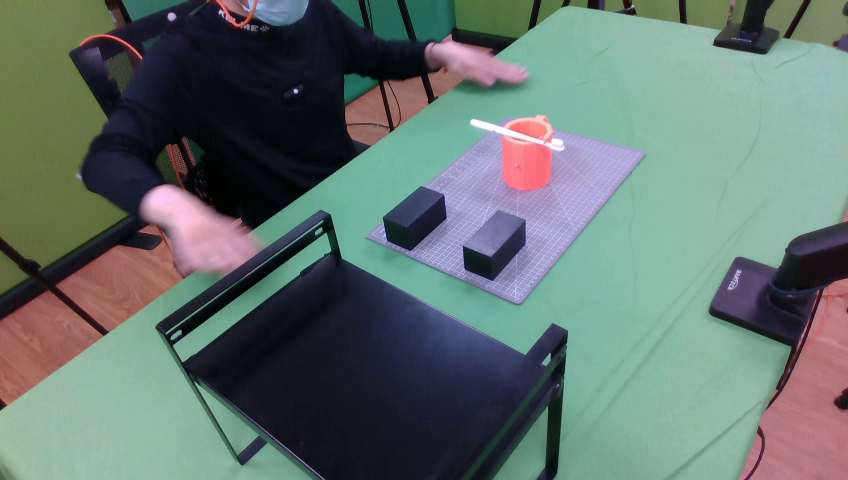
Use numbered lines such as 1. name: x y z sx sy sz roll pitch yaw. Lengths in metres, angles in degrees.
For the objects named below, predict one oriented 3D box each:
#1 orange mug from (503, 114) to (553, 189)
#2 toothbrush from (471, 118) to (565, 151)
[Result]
1. orange mug: 0.190 -0.164 1.071 0.083 0.101 0.126 16 50 25
2. toothbrush: 0.154 -0.181 1.015 0.180 0.017 0.014 23 61 30
